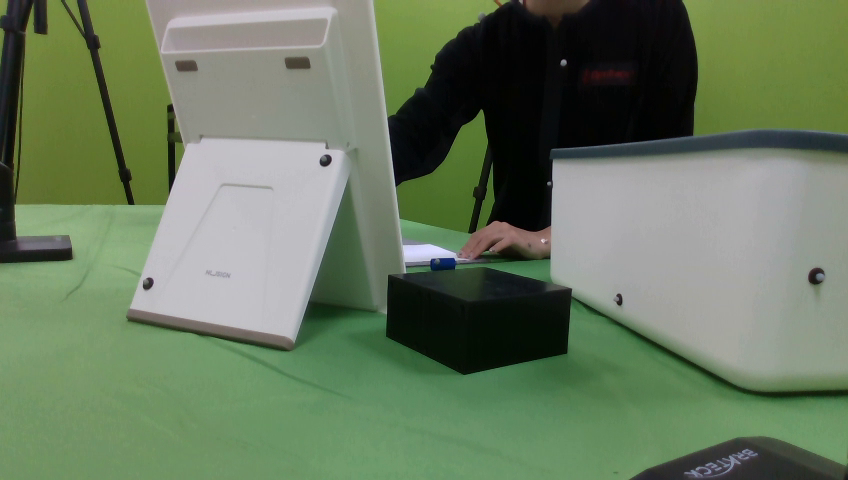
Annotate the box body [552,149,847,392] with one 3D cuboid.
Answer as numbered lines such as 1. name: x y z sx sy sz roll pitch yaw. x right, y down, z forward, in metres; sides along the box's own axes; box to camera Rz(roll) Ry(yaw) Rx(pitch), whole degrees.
1. box body: 0.290 0.002 0.549 0.255 0.160 0.363 2 7 -10

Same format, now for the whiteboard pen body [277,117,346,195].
1. whiteboard pen body: -0.110 -0.085 0.599 0.017 0.017 0.141 5 39 19

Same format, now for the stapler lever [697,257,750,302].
1. stapler lever: 0.290 0.035 0.580 0.026 0.040 0.119 30 19 34

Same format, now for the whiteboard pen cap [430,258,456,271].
1. whiteboard pen cap: 0.024 0.031 0.790 0.033 0.018 0.018 1 8 -12

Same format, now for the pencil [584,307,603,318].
1. pencil: 0.250 0.054 0.656 0.195 0.012 0.012 -13 14 -26

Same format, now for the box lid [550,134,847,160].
1. box lid: 0.294 -0.071 0.538 0.264 0.015 0.370 2 6 -10

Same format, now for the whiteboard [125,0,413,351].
1. whiteboard: -0.151 -0.050 0.471 0.216 0.305 0.144 6 27 24

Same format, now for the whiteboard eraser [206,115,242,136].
1. whiteboard eraser: -0.438 -0.249 1.320 0.056 0.042 0.112 -3 9 -30

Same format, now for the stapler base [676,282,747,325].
1. stapler base: 0.283 0.057 0.585 0.041 0.024 0.131 30 18 34
